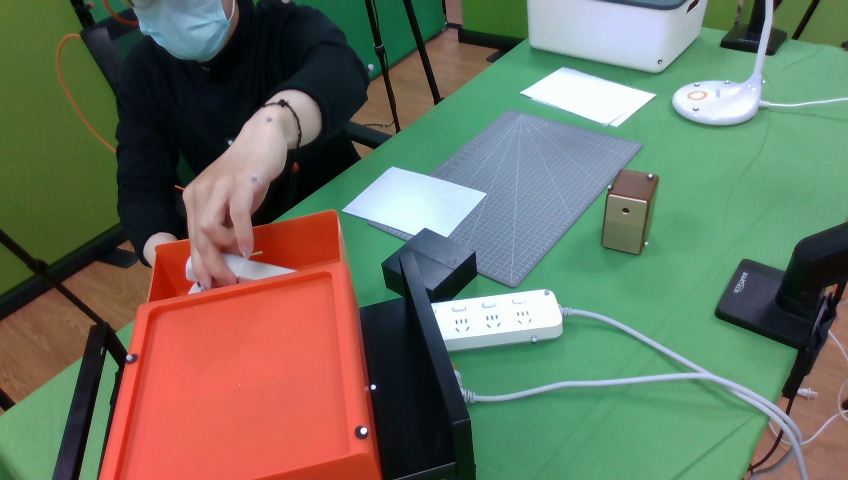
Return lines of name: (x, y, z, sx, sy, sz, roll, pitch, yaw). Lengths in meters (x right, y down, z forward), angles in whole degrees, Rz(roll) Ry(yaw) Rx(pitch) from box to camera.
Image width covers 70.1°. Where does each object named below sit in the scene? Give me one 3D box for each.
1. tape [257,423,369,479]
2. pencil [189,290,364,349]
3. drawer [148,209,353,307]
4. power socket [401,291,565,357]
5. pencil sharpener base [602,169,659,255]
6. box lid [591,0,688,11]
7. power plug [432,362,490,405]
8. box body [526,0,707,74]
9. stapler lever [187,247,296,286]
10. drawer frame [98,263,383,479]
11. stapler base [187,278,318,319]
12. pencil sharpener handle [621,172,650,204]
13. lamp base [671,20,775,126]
tape: (-0.120, 0.262, 0.659, 0.117, 0.053, 0.116, -4, 40, 4)
pencil: (-0.152, 0.078, 0.613, 0.193, 0.012, 0.012, 16, 44, 9)
drawer: (-0.167, 0.075, 0.589, 0.195, 0.073, 0.210, -11, 41, -5)
power socket: (0.080, 0.113, 0.821, 0.227, 0.033, 0.072, -6, 41, 0)
pencil sharpener base: (0.312, -0.044, 0.913, 0.061, 0.107, 0.077, 14, 44, 24)
box lid: (0.441, -0.595, 1.382, 0.368, 0.015, 0.264, 24, 49, 31)
power plug: (0.044, 0.182, 0.759, 0.073, 0.035, 0.052, 24, 42, -20)
box body: (0.450, -0.540, 1.429, 0.361, 0.161, 0.255, 24, 50, 31)
stapler lever: (-0.174, 0.033, 0.596, 0.118, 0.040, 0.026, 6, 44, 1)
drawer frame: (-0.148, 0.131, 0.518, 0.202, 0.083, 0.212, -12, 41, -6)
stapler base: (-0.176, 0.053, 0.614, 0.130, 0.024, 0.041, 5, 44, 3)
pencil sharpener handle: (0.328, -0.086, 0.940, 0.036, 0.068, 0.030, 30, 49, 7)
lamp base: (0.582, -0.331, 1.153, 0.179, 0.181, 0.160, 2, 41, 7)
